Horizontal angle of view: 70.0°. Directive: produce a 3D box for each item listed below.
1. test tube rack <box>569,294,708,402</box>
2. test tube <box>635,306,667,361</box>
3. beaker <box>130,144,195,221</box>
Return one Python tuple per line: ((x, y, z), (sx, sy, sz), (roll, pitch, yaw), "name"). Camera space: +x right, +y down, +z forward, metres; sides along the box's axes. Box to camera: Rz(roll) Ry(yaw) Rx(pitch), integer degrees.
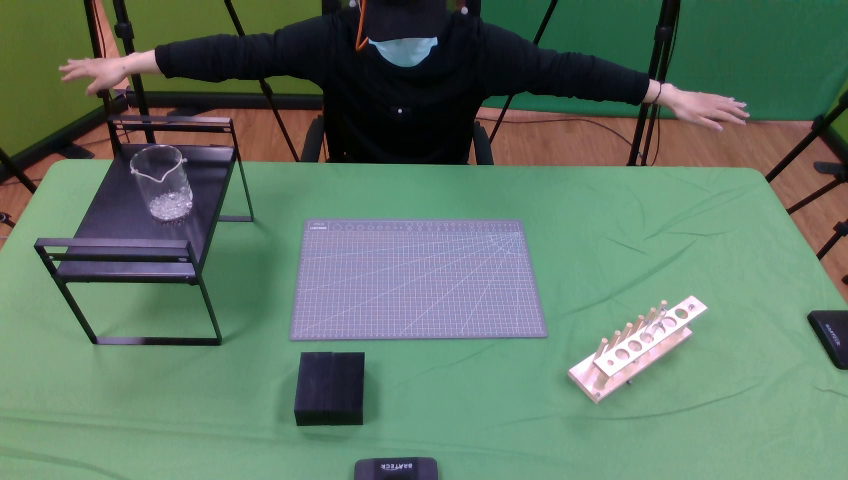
((0.360, 0.167, 1.015), (0.242, 0.085, 0.066), (-25, 52, -25), "test tube rack")
((0.356, 0.151, 0.961), (0.017, 0.151, 0.017), (0, 51, 0), "test tube")
((-0.403, -0.085, 0.944), (0.074, 0.101, 0.083), (-15, 50, -17), "beaker")
